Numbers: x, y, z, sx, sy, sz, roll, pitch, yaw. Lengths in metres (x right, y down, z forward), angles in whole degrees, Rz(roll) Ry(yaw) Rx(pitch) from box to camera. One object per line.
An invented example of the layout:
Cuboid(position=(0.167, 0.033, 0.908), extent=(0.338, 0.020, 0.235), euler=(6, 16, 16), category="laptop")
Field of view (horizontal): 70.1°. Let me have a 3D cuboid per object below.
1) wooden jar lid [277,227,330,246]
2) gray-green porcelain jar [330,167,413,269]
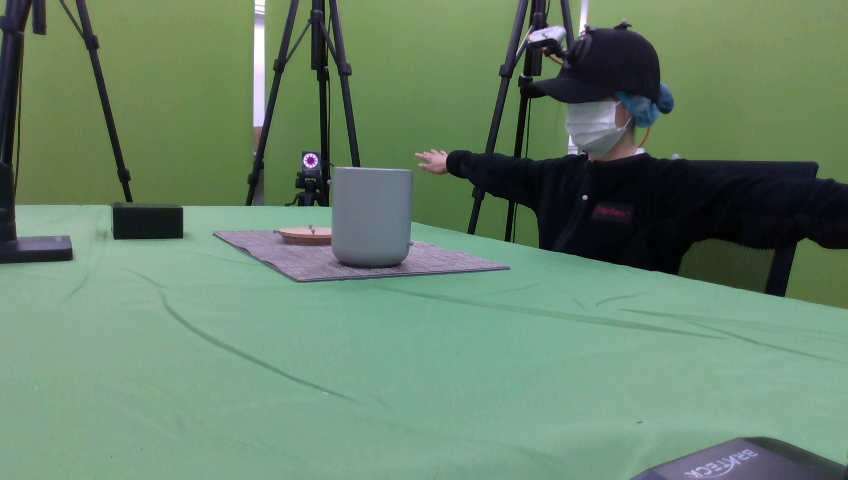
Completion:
Cuboid(position=(-0.183, -0.006, 0.979), extent=(0.108, 0.020, 0.108), euler=(3, 8, 0), category="wooden jar lid")
Cuboid(position=(-0.069, -0.030, 0.791), extent=(0.106, 0.126, 0.106), euler=(3, 7, 0), category="gray-green porcelain jar")
